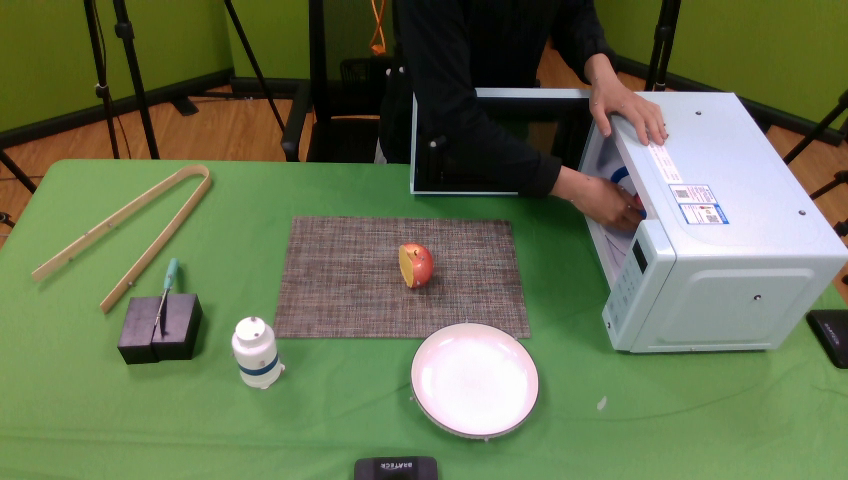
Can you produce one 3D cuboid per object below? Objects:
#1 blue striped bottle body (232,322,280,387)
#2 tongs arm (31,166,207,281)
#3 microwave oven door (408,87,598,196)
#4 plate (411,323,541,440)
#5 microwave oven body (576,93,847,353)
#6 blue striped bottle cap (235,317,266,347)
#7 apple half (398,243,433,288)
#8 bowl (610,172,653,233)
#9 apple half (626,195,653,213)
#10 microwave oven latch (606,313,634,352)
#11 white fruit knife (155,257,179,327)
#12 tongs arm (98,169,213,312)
[{"bbox_3d":[-0.262,0.171,0.944,0.063,0.121,0.062,2,46,-2],"label":"blue striped bottle body"},{"bbox_3d":[-0.578,-0.040,1.185,0.050,0.026,0.384,23,47,17],"label":"tongs arm"},{"bbox_3d":[0.149,-0.194,1.226,0.356,0.245,0.039,0,45,-5],"label":"microwave oven door"},{"bbox_3d":[0.082,0.228,0.976,0.208,0.039,0.206,2,45,-2],"label":"plate"},{"bbox_3d":[0.475,-0.041,1.109,0.326,0.261,0.438,-1,45,-4],"label":"microwave oven body"},{"bbox_3d":[-0.260,0.137,0.907,0.044,0.021,0.044,3,43,-2],"label":"blue striped bottle cap"},{"bbox_3d":[-0.012,0.046,1.115,0.053,0.075,0.080,-11,44,-20],"label":"apple half"},{"bbox_3d":[0.427,-0.060,1.166,0.151,0.077,0.150,3,37,-2],"label":"bowl"},{"bbox_3d":[0.420,-0.067,1.160,0.081,0.033,0.081,0,31,0],"label":"apple half"},{"bbox_3d":[0.335,0.154,1.043,0.030,0.029,0.078,4,45,1],"label":"microwave oven latch"},{"bbox_3d":[-0.440,0.085,1.037,0.016,0.027,0.206,10,26,-19],"label":"white fruit knife"},{"bbox_3d":[-0.503,-0.012,1.167,0.028,0.028,0.385,11,45,11],"label":"tongs arm"}]
